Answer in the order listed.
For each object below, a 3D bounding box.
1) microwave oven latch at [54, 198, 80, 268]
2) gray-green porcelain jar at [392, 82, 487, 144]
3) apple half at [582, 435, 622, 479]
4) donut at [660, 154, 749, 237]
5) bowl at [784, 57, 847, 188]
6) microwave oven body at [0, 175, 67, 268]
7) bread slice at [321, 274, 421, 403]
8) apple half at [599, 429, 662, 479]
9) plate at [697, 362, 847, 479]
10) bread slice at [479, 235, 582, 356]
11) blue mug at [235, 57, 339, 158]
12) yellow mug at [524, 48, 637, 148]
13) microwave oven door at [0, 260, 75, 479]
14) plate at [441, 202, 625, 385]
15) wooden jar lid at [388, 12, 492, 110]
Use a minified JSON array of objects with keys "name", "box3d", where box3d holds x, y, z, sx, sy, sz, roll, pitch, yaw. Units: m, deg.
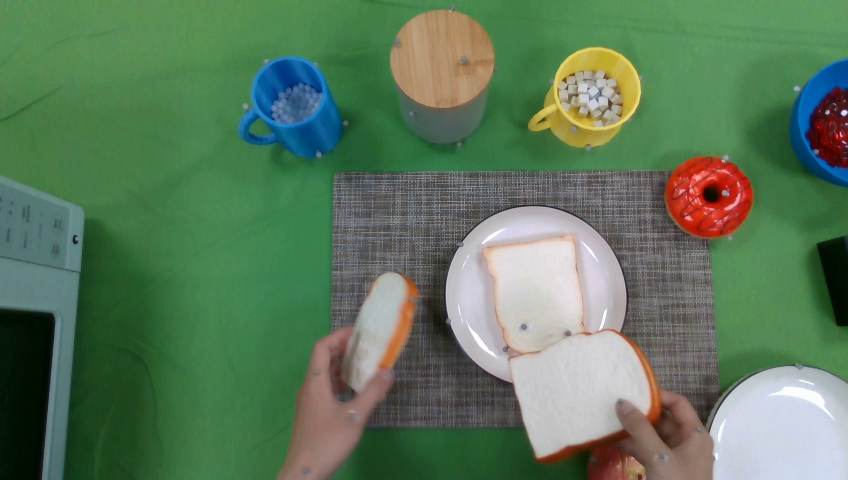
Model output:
[{"name":"microwave oven latch","box3d":[-0.420,-0.008,0.700,0.030,0.029,0.079,3,82,1]},{"name":"gray-green porcelain jar","box3d":[0.018,-0.174,0.695,0.106,0.127,0.105,0,81,1]},{"name":"apple half","box3d":[0.187,0.252,0.653,0.033,0.081,0.081,-6,81,-5]},{"name":"donut","box3d":[0.326,-0.052,0.709,0.099,0.048,0.098,0,82,1]},{"name":"bowl","box3d":[0.484,-0.125,0.704,0.151,0.077,0.151,0,82,1]},{"name":"microwave oven body","box3d":[-0.570,0.152,0.581,0.326,0.261,0.440,0,82,1]},{"name":"bread slice","box3d":[-0.052,0.099,0.645,0.019,0.104,0.131,33,79,-37]},{"name":"apple half","box3d":[0.225,0.244,0.655,0.053,0.075,0.080,-9,79,-4]},{"name":"plate","box3d":[0.403,0.240,0.670,0.209,0.038,0.208,0,81,1]},{"name":"bread slice","box3d":[0.129,0.065,0.698,0.107,0.018,0.134,-11,81,-1]},{"name":"blue mug","box3d":[-0.162,-0.143,0.703,0.116,0.106,0.082,-26,81,-3]},{"name":"yellow mug","box3d":[0.179,-0.161,0.721,0.131,0.064,0.099,-24,81,-2]},{"name":"microwave oven door","box3d":[-0.426,0.193,0.568,0.039,0.244,0.354,0,81,1]},{"name":"plate","box3d":[0.123,0.061,0.698,0.208,0.039,0.207,0,82,1]},{"name":"wooden jar lid","box3d":[0.016,-0.185,0.633,0.108,0.021,0.108,0,79,1]}]
